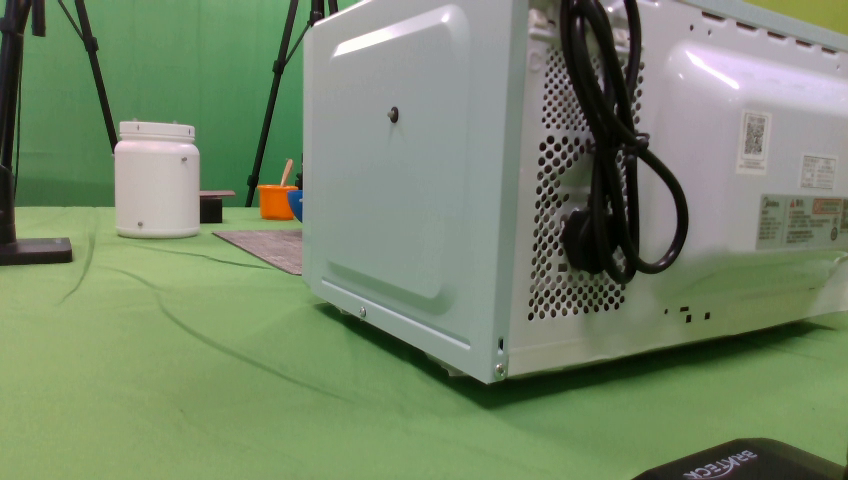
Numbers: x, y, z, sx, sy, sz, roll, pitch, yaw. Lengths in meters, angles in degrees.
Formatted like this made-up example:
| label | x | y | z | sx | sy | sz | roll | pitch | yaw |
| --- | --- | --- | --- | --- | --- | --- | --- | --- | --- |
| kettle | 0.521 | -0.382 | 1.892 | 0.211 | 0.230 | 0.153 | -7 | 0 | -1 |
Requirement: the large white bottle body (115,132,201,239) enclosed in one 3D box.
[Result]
| label | x | y | z | sx | sy | sz | roll | pitch | yaw |
| --- | --- | --- | --- | --- | --- | --- | --- | --- | --- |
| large white bottle body | -0.447 | -0.100 | 1.020 | 0.131 | 0.184 | 0.130 | 2 | 7 | 0 |

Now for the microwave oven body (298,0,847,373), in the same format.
| label | x | y | z | sx | sy | sz | roll | pitch | yaw |
| --- | --- | --- | --- | --- | --- | --- | --- | --- | --- |
| microwave oven body | 0.151 | -0.055 | 0.543 | 0.444 | 0.260 | 0.324 | -1 | 7 | -33 |

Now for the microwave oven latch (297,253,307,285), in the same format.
| label | x | y | z | sx | sy | sz | roll | pitch | yaw |
| --- | --- | --- | --- | --- | --- | --- | --- | --- | --- |
| microwave oven latch | -0.082 | 0.027 | 0.582 | 0.079 | 0.029 | 0.030 | -1 | 7 | -32 |

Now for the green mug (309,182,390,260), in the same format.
| label | x | y | z | sx | sy | sz | roll | pitch | yaw |
| --- | --- | --- | --- | --- | --- | --- | --- | --- | --- |
| green mug | -0.102 | -0.029 | 0.864 | 0.126 | 0.105 | 0.092 | -3 | 9 | -40 |

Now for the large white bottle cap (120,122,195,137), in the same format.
| label | x | y | z | sx | sy | sz | roll | pitch | yaw |
| --- | --- | --- | --- | --- | --- | --- | --- | --- | --- |
| large white bottle cap | -0.444 | -0.183 | 1.010 | 0.115 | 0.018 | 0.115 | 2 | 7 | 0 |

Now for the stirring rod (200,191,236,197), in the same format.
| label | x | y | z | sx | sy | sz | roll | pitch | yaw |
| --- | --- | --- | --- | --- | --- | --- | --- | --- | --- |
| stirring rod | -0.466 | -0.098 | 1.283 | 0.014 | 0.006 | 0.177 | 42 | 21 | 17 |

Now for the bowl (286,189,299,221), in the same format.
| label | x | y | z | sx | sy | sz | roll | pitch | yaw |
| --- | --- | --- | --- | --- | --- | --- | --- | --- | --- |
| bowl | -0.179 | -0.051 | 1.115 | 0.151 | 0.077 | 0.151 | 3 | 8 | 0 |

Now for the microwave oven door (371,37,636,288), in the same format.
| label | x | y | z | sx | sy | sz | roll | pitch | yaw |
| --- | --- | --- | --- | --- | --- | --- | --- | --- | --- |
| microwave oven door | 0.109 | -0.080 | 0.687 | 0.358 | 0.243 | 0.039 | -2 | 9 | -33 |

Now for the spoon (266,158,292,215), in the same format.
| label | x | y | z | sx | sy | sz | roll | pitch | yaw |
| --- | --- | --- | --- | --- | --- | --- | --- | --- | --- |
| spoon | -0.333 | -0.127 | 1.423 | 0.041 | 0.193 | 0.022 | -1 | -37 | 8 |
